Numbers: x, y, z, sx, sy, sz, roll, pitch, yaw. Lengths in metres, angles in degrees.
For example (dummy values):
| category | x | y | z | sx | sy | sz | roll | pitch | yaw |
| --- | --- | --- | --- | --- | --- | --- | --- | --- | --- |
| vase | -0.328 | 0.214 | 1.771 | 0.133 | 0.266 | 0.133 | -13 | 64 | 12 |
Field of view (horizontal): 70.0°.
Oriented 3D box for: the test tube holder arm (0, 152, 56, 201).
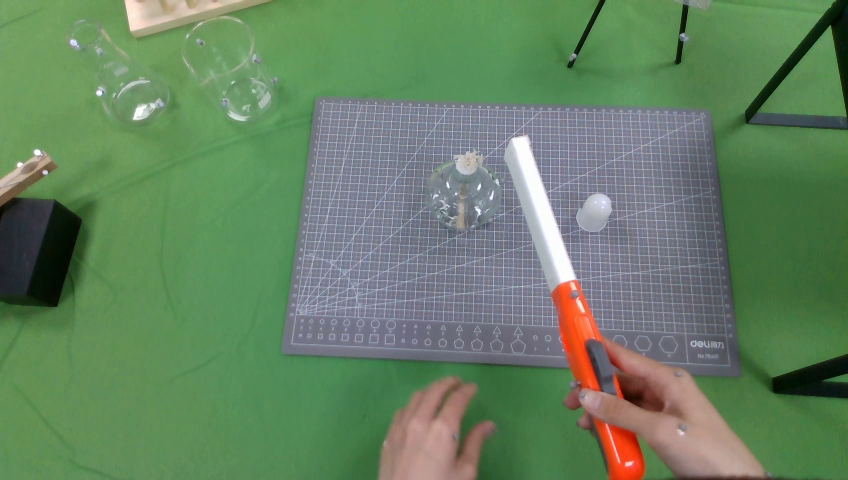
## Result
| category | x | y | z | sx | sy | sz | roll | pitch | yaw |
| --- | --- | --- | --- | --- | --- | --- | --- | --- | --- |
| test tube holder arm | -0.415 | -0.057 | 0.612 | 0.088 | 0.015 | 0.010 | -39 | 74 | -13 |

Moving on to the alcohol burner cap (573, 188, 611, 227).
| category | x | y | z | sx | sy | sz | roll | pitch | yaw |
| --- | --- | --- | --- | --- | --- | --- | --- | --- | --- |
| alcohol burner cap | 0.176 | -0.037 | 0.627 | 0.034 | 0.048 | 0.033 | 0 | 71 | 1 |

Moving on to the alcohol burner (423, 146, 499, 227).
| category | x | y | z | sx | sy | sz | roll | pitch | yaw |
| --- | --- | --- | --- | --- | --- | --- | --- | --- | --- |
| alcohol burner | 0.038 | -0.059 | 0.600 | 0.078 | 0.120 | 0.077 | 0 | 69 | 0 |

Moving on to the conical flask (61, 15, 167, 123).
| category | x | y | z | sx | sy | sz | roll | pitch | yaw |
| --- | --- | --- | --- | --- | --- | --- | --- | --- | --- |
| conical flask | -0.337 | -0.187 | 0.652 | 0.075 | 0.122 | 0.075 | 0 | 70 | 2 |

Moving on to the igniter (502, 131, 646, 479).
| category | x | y | z | sx | sy | sz | roll | pitch | yaw |
| --- | --- | --- | --- | --- | --- | --- | --- | --- | --- |
| igniter | 0.110 | 0.043 | 0.462 | 0.025 | 0.057 | 0.274 | -13 | 71 | -9 |

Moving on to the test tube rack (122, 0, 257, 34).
| category | x | y | z | sx | sy | sz | roll | pitch | yaw |
| --- | --- | --- | --- | --- | --- | --- | --- | --- | --- |
| test tube rack | -0.253 | -0.330 | 0.720 | 0.242 | 0.086 | 0.066 | -18 | 71 | -5 |

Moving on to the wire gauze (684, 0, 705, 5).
| category | x | y | z | sx | sy | sz | roll | pitch | yaw |
| --- | --- | --- | --- | --- | --- | --- | --- | --- | --- |
| wire gauze | 0.235 | -0.294 | 0.599 | 0.121 | 0.011 | 0.124 | 23 | 73 | 8 |

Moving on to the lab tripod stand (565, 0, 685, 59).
| category | x | y | z | sx | sy | sz | roll | pitch | yaw |
| --- | --- | --- | --- | --- | --- | --- | --- | --- | --- |
| lab tripod stand | 0.229 | -0.269 | 0.662 | 0.148 | 0.132 | 0.147 | 0 | 69 | 0 |

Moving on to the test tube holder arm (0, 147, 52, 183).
| category | x | y | z | sx | sy | sz | roll | pitch | yaw |
| --- | --- | --- | --- | --- | --- | --- | --- | --- | --- |
| test tube holder arm | -0.453 | -0.033 | 0.603 | 0.178 | 0.015 | 0.013 | -40 | 74 | -13 |

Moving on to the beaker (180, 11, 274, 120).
| category | x | y | z | sx | sy | sz | roll | pitch | yaw |
| --- | --- | --- | --- | --- | --- | --- | --- | --- | --- |
| beaker | -0.211 | -0.182 | 0.660 | 0.074 | 0.101 | 0.083 | 17 | 72 | 8 |
